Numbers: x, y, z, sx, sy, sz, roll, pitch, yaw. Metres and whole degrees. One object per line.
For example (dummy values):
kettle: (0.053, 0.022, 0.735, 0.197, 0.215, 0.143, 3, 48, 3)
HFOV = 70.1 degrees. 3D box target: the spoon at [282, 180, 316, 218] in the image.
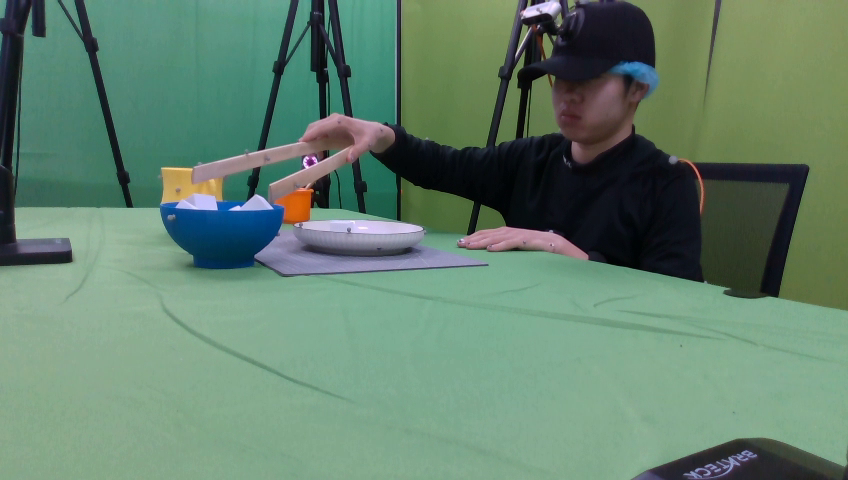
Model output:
spoon: (-0.262, -0.115, 1.359, 0.041, 0.194, 0.022, 13, -33, 38)

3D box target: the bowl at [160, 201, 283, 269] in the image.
bowl: (-0.259, -0.007, 0.783, 0.151, 0.077, 0.151, 2, 8, 0)

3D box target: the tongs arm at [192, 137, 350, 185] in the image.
tongs arm: (-0.225, -0.132, 0.975, 0.050, 0.026, 0.385, 13, 20, 15)

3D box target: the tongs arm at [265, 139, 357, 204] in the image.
tongs arm: (-0.167, -0.117, 0.961, 0.028, 0.028, 0.388, 8, 19, 10)

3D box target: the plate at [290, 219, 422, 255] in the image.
plate: (-0.108, -0.005, 0.963, 0.208, 0.039, 0.207, 3, 7, 0)

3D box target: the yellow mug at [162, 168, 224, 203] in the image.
yellow mug: (-0.383, -0.087, 1.026, 0.130, 0.064, 0.100, 11, 11, 44)
